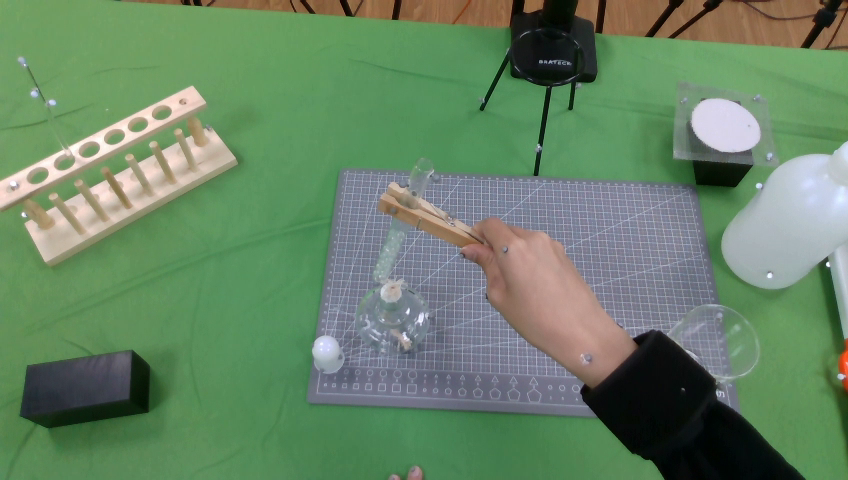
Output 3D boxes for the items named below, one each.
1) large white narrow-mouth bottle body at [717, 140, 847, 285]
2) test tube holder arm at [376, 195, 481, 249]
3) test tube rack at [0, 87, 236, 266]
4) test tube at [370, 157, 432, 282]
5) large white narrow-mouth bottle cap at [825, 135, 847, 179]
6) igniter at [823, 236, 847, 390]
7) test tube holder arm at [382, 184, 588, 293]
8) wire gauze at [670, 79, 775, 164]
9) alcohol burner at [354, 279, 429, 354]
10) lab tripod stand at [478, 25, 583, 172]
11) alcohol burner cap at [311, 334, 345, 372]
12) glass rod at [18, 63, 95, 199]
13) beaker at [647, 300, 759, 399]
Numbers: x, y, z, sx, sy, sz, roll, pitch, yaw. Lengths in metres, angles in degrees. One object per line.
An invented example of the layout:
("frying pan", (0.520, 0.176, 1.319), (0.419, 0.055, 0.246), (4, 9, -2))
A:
("large white narrow-mouth bottle body", (0.397, -0.034, 0.640), (0.102, 0.196, 0.101), (1, 60, -1))
("test tube holder arm", (0.004, -0.014, 0.480), (0.088, 0.015, 0.010), (21, 66, 0))
("test tube rack", (-0.352, -0.076, 0.706), (0.242, 0.086, 0.066), (-34, 67, -18))
("test tube", (-0.022, -0.011, 0.499), (0.017, 0.151, 0.017), (11, 49, -13))
("large white narrow-mouth bottle cap", (0.398, -0.078, 0.566), (0.038, 0.024, 0.037), (1, 61, -1))
("igniter", (0.470, 0.114, 0.656), (0.057, 0.025, 0.274), (12, 61, -6))
("test tube holder arm", (0.048, -0.001, 0.482), (0.178, 0.015, 0.013), (24, 66, 1))
("wire gauze", (0.367, -0.147, 0.752), (0.121, 0.011, 0.124), (10, 61, 4))
("alcohol burner", (-0.033, 0.071, 0.615), (0.078, 0.120, 0.077), (2, 60, -3))
("lab tripod stand", (0.140, -0.181, 0.750), (0.148, 0.132, 0.147), (1, 62, -2))
("alcohol burner cap", (-0.102, 0.116, 0.629), (0.034, 0.048, 0.033), (0, 62, 1))
("glass rod", (-0.386, -0.103, 0.645), (0.008, 0.201, 0.008), (3, 52, -4))
("beaker", (0.270, 0.114, 0.607), (0.084, 0.101, 0.073), (8, 60, 4))
